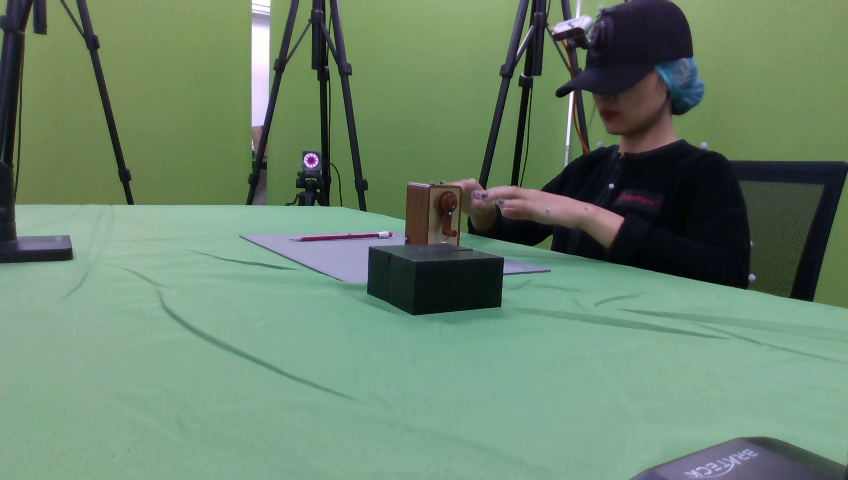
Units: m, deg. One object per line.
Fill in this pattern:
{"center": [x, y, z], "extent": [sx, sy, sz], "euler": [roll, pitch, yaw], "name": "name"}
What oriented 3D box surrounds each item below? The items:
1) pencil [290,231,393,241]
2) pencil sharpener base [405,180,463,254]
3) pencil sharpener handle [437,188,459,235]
{"center": [-0.136, -0.006, 1.029], "extent": [0.195, 0.012, 0.012], "euler": [-4, 9, -35], "name": "pencil"}
{"center": [0.016, -0.035, 0.922], "extent": [0.061, 0.107, 0.076], "euler": [-1, 9, -30], "name": "pencil sharpener base"}
{"center": [0.041, -0.041, 0.876], "extent": [0.036, 0.067, 0.030], "euler": [1, 7, -30], "name": "pencil sharpener handle"}
